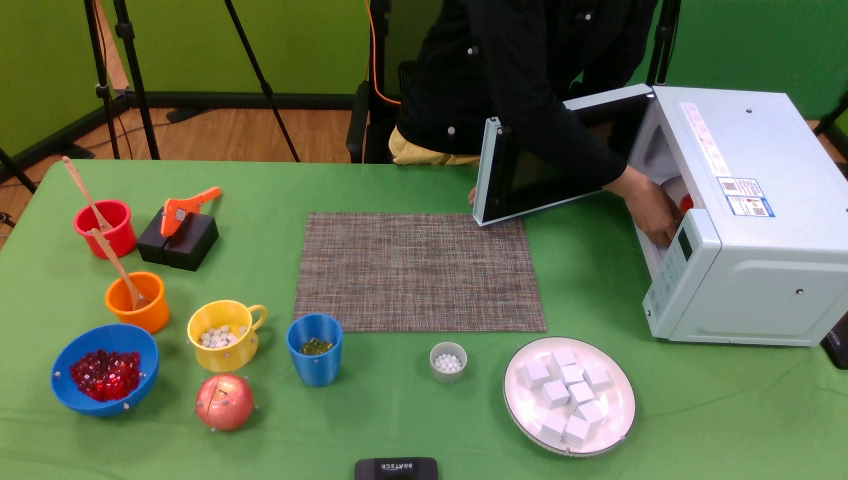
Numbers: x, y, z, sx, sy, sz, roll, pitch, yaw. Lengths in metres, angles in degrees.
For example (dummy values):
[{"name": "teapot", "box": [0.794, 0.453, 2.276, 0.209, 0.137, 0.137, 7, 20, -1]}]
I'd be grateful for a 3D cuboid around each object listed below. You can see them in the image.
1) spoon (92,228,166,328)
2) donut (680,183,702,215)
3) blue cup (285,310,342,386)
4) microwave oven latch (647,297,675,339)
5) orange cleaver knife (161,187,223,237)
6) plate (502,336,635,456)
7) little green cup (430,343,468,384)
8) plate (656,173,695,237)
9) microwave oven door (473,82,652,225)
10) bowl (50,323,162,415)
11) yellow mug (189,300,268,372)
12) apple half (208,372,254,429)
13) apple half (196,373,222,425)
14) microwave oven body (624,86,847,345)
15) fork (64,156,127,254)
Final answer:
[{"name": "spoon", "box": [-0.496, 0.063, 1.014, 0.041, 0.194, 0.021, -34, 13, -32]}, {"name": "donut", "box": [0.547, -0.069, 1.178, 0.099, 0.048, 0.098, 4, 64, -8]}, {"name": "blue cup", "box": [-0.170, 0.179, 0.958, 0.093, 0.101, 0.092, 2, 44, -1]}, {"name": "microwave oven latch", "box": [0.413, 0.134, 1.061, 0.030, 0.029, 0.078, 5, 45, 2]}, {"name": "orange cleaver knife", "box": [-0.448, -0.058, 1.181, 0.012, 0.077, 0.211, 13, 17, 6]}, {"name": "plate", "box": [0.225, 0.248, 0.963, 0.208, 0.039, 0.206, 2, 46, -2]}, {"name": "little green cup", "box": [0.039, 0.203, 0.993, 0.061, 0.039, 0.061, 2, 46, -2]}, {"name": "plate", "box": [0.554, -0.043, 1.192, 0.209, 0.038, 0.208, 6, 52, -8]}, {"name": "microwave oven door", "box": [0.273, -0.171, 1.205, 0.356, 0.245, 0.039, -16, 50, -18]}, {"name": "bowl", "box": [-0.472, 0.209, 0.924, 0.151, 0.077, 0.150, 3, 45, -2]}, {"name": "yellow mug", "box": [-0.315, 0.148, 1.001, 0.131, 0.064, 0.099, -33, 55, -31]}, {"name": "apple half", "box": [-0.282, 0.244, 0.908, 0.053, 0.075, 0.080, 7, 43, -1]}, {"name": "apple half", "box": [-0.322, 0.240, 0.907, 0.033, 0.081, 0.081, 7, 46, 0]}, {"name": "microwave oven body", "box": [0.567, -0.053, 1.118, 0.326, 0.261, 0.439, 2, 45, -1]}, {"name": "fork", "box": [-0.614, -0.064, 1.130, 0.028, 0.018, 0.207, -29, 97, -16]}]
